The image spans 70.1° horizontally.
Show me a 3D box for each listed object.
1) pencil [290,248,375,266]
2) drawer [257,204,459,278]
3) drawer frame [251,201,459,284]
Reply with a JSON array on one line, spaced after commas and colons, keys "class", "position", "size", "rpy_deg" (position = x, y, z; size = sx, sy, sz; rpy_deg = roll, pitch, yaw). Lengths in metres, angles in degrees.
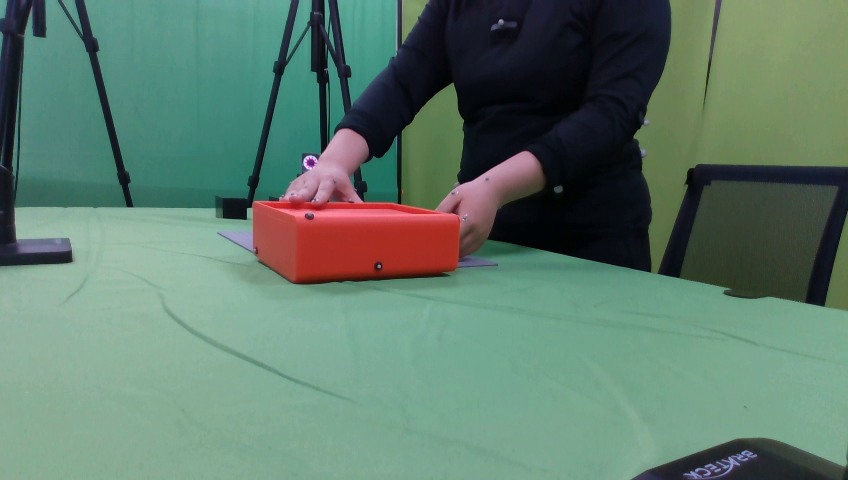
[{"class": "pencil", "position": [-0.112, 0.020, 0.792], "size": [0.012, 0.012, 0.195], "rpy_deg": [6, 6, 25]}, {"class": "drawer", "position": [-0.091, -0.004, 0.792], "size": [0.213, 0.073, 0.193], "rpy_deg": [-3, 10, -29]}, {"class": "drawer frame", "position": [-0.095, -0.005, 0.788], "size": [0.215, 0.082, 0.200], "rpy_deg": [-3, 10, -30]}]
